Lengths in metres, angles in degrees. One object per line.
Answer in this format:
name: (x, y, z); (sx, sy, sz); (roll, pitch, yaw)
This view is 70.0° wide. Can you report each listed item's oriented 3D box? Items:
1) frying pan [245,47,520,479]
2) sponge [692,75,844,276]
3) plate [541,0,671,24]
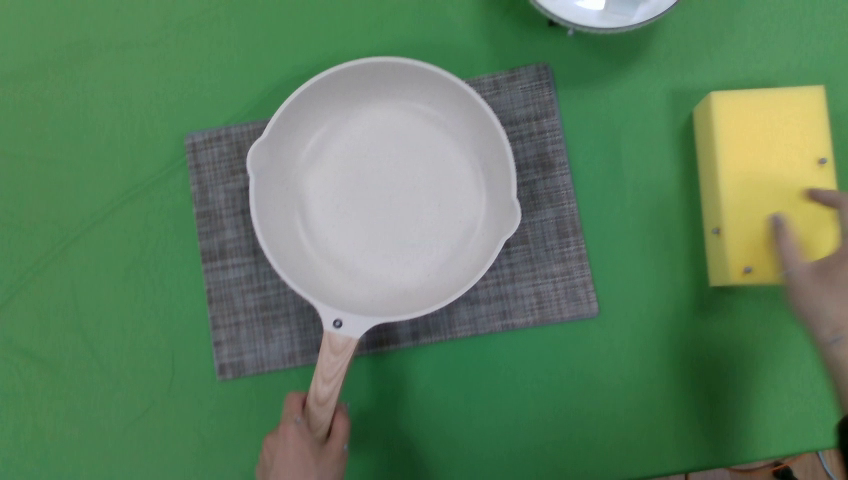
frying pan: (-0.074, 0.035, 0.658); (0.306, 0.103, 0.486); (15, 78, 7)
sponge: (0.365, -0.065, 0.652); (0.118, 0.061, 0.206); (-4, 86, 5)
plate: (0.195, -0.329, 0.652); (0.207, 0.039, 0.207); (0, 85, 4)
